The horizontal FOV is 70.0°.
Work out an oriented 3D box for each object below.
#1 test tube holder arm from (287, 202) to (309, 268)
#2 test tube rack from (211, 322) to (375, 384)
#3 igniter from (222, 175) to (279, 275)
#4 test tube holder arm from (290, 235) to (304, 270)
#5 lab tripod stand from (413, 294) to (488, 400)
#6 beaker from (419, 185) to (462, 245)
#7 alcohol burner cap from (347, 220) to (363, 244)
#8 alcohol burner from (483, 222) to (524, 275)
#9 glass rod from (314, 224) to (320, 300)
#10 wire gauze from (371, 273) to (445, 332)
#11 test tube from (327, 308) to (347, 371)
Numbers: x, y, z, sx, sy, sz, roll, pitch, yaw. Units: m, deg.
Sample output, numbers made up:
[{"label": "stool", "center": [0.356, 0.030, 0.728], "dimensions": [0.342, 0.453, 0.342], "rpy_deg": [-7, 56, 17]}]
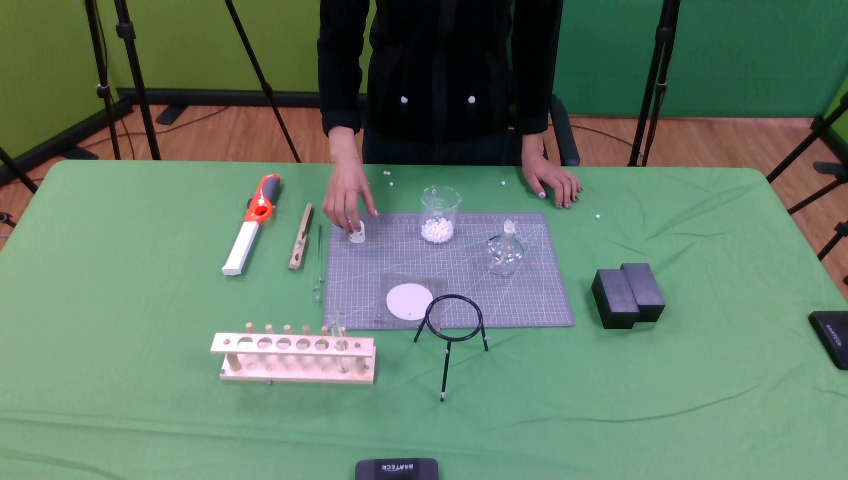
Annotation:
[{"label": "test tube holder arm", "center": [-0.247, -0.013, 1.193], "dimensions": [0.013, 0.015, 0.177], "rpy_deg": [29, 39, -26]}, {"label": "test tube rack", "center": [-0.203, 0.176, 0.969], "dimensions": [0.242, 0.085, 0.066], "rpy_deg": [3, 46, -2]}, {"label": "igniter", "center": [-0.341, -0.039, 1.206], "dimensions": [0.057, 0.025, 0.275], "rpy_deg": [-1, 45, 9]}, {"label": "test tube holder arm", "center": [-0.243, 0.021, 1.164], "dimensions": [0.010, 0.015, 0.087], "rpy_deg": [29, 39, -26]}, {"label": "lab tripod stand", "center": [0.044, 0.159, 0.972], "dimensions": [0.148, 0.132, 0.147], "rpy_deg": [2, 44, -2]}, {"label": "beaker", "center": [0.029, -0.047, 1.191], "dimensions": [0.084, 0.101, 0.073], "rpy_deg": [-5, 47, -10]}, {"label": "alcohol burner cap", "center": [-0.135, -0.019, 1.190], "dimensions": [0.034, 0.048, 0.033], "rpy_deg": [3, 47, -3]}, {"label": "alcohol burner", "center": [0.152, 0.009, 1.136], "dimensions": [0.078, 0.119, 0.077], "rpy_deg": [4, 46, -4]}, {"label": "glass rod", "center": [-0.204, 0.038, 1.156], "dimensions": [0.008, 0.008, 0.198], "rpy_deg": [-2, 44, -6]}, {"label": "wire gauze", "center": [-0.028, 0.108, 1.100], "dimensions": [0.125, 0.011, 0.121], "rpy_deg": [7, 45, 4]}, {"label": "test tube", "center": [-0.132, 0.155, 0.926], "dimensions": [0.017, 0.151, 0.017], "rpy_deg": [0, 45, 0]}]
